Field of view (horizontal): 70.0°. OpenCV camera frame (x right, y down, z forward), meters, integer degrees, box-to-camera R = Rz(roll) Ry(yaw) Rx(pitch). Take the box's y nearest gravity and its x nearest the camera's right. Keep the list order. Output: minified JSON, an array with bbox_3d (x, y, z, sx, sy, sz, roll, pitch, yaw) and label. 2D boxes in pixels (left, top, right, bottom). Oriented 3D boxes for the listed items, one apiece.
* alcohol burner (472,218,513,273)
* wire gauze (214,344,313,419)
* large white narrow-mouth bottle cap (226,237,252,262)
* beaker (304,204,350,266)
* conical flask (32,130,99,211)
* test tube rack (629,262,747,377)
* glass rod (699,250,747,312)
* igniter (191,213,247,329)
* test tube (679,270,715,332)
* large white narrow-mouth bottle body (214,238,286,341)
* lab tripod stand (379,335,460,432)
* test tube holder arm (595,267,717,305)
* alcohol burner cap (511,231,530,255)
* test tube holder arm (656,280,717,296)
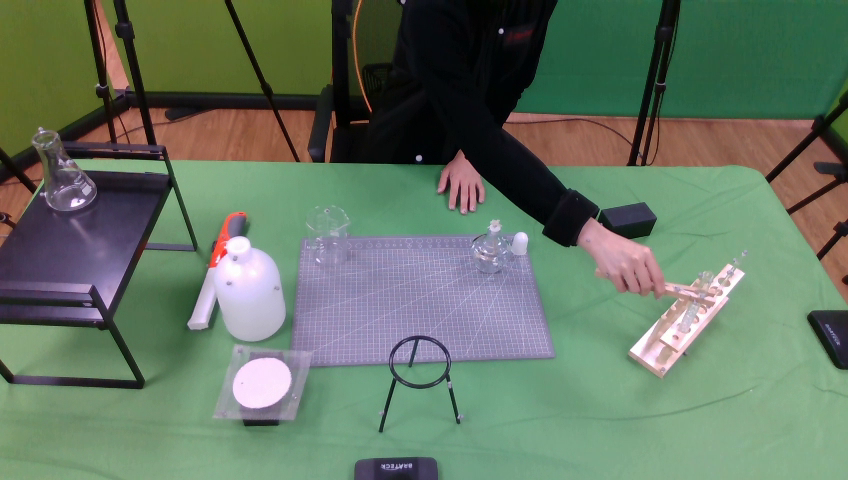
[{"bbox_3d":[0.128,0.005,1.132,0.078,0.120,0.077,0,47,0],"label":"alcohol burner"},{"bbox_3d":[-0.241,0.213,0.915,0.121,0.011,0.124,5,46,1],"label":"wire gauze"},{"bbox_3d":[-0.281,0.014,0.923,0.038,0.024,0.037,2,46,-2],"label":"large white narrow-mouth bottle cap"},{"bbox_3d":[-0.178,-0.006,1.132,0.084,0.101,0.073,4,46,-1],"label":"beaker"},{"bbox_3d":[-0.565,-0.111,0.944,0.075,0.122,0.075,2,46,-2],"label":"conical flask"},{"bbox_3d":[0.464,0.126,1.061,0.242,0.085,0.066,-34,56,-31],"label":"test tube rack"},{"bbox_3d":[0.500,0.075,1.021,0.008,0.201,0.008,0,55,1],"label":"glass rod"},{"bbox_3d":[-0.376,0.047,1.121,0.057,0.025,0.275,-4,46,6],"label":"igniter"},{"bbox_3d":[0.420,0.099,0.937,0.017,0.151,0.017,-2,47,2],"label":"test tube"},{"bbox_3d":[-0.285,0.073,0.986,0.102,0.195,0.101,2,46,-2],"label":"large white narrow-mouth bottle body"},{"bbox_3d":[-0.011,0.214,0.912,0.148,0.132,0.147,1,45,0],"label":"lab tripod stand"},{"bbox_3d":[0.354,0.070,0.930,0.178,0.015,0.013,13,46,13],"label":"test tube holder arm"},{"bbox_3d":[0.191,0.003,1.188,0.034,0.048,0.033,2,45,-2],"label":"alcohol burner cap"},{"bbox_3d":[0.399,0.074,0.925,0.088,0.015,0.010,7,45,7],"label":"test tube holder arm"}]
